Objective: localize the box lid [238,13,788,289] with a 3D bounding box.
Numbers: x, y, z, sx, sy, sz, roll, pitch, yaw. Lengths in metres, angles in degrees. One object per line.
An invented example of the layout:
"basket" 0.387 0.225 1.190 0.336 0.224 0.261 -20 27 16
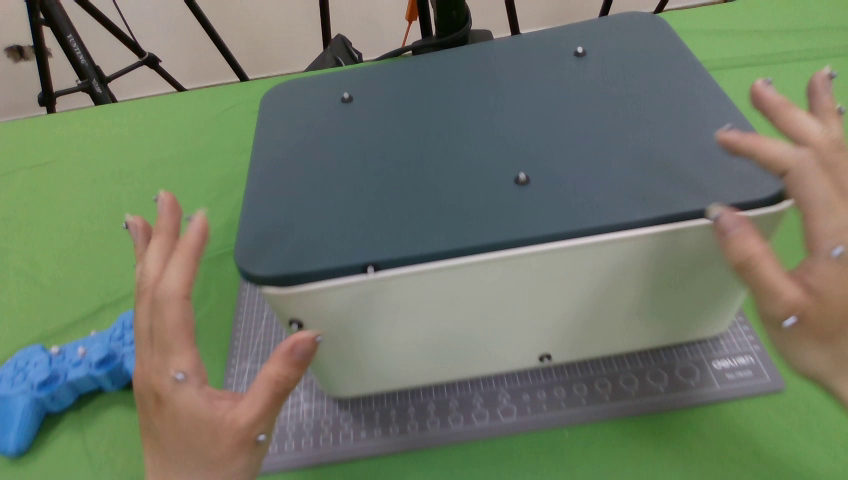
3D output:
"box lid" 0.044 -0.088 0.474 0.371 0.015 0.260 -11 44 1

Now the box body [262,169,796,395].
"box body" 0.064 -0.029 0.523 0.364 0.162 0.251 -10 45 0

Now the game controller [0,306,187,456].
"game controller" -0.294 0.114 0.532 0.155 0.052 0.096 -20 43 -10
